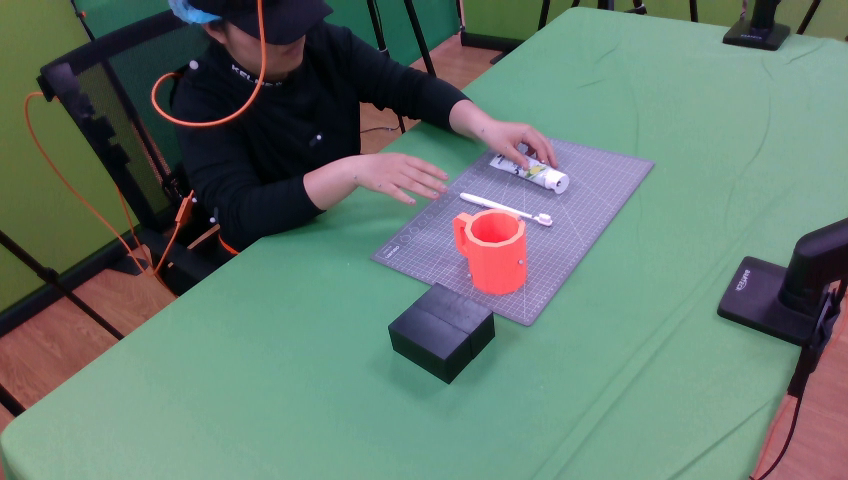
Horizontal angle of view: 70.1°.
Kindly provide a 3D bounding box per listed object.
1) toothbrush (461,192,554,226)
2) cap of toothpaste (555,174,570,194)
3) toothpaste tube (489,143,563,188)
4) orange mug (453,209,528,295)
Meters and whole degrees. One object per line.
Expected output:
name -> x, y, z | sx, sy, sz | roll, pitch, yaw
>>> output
toothbrush -> 0.137, -0.056, 1.026 | 0.180, 0.017, 0.014 | 20, 62, 32
cap of toothpaste -> 0.236, -0.098, 1.040 | 0.037, 0.037, 0.011 | -32, 43, -23
toothpaste tube -> 0.190, -0.132, 1.092 | 0.055, 0.035, 0.163 | -47, 48, -10
orange mug -> 0.095, 0.010, 0.894 | 0.125, 0.101, 0.084 | 32, 55, 33
